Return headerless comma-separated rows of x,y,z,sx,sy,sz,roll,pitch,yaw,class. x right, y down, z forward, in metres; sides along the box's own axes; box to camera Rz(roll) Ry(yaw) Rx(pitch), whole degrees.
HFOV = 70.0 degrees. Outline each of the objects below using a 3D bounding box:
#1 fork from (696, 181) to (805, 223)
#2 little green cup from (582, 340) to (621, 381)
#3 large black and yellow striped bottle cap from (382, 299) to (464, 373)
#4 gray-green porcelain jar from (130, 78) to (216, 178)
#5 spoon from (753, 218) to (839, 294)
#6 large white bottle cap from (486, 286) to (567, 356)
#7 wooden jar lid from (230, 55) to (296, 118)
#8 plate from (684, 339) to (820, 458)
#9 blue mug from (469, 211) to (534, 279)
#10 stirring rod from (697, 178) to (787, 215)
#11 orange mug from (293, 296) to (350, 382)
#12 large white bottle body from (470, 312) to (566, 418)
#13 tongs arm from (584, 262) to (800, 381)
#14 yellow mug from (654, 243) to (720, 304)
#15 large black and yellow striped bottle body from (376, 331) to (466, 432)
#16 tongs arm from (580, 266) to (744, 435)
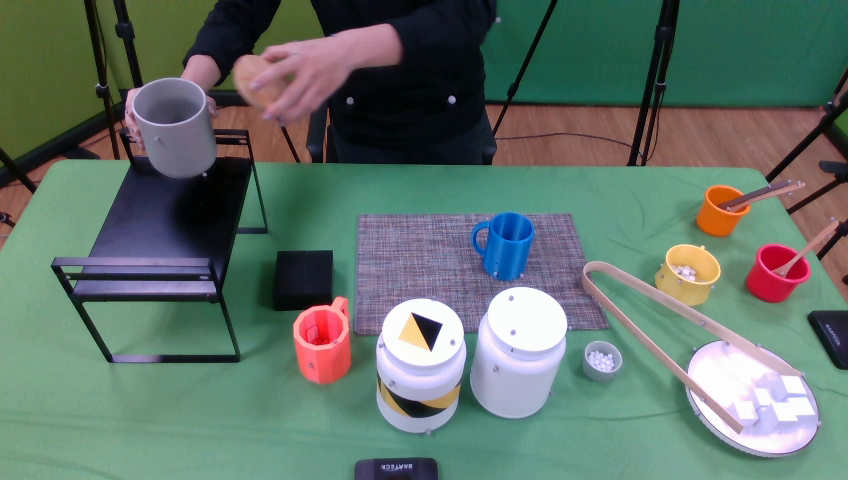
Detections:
0.659,-0.077,1.232,0.207,0.019,0.028,-26,35,34,fork
0.295,0.204,1.015,0.061,0.039,0.061,2,45,-2,little green cup
-0.002,0.132,0.843,0.115,0.019,0.114,2,46,-1,large black and yellow striped bottle cap
-0.382,-0.166,0.937,0.106,0.127,0.105,5,54,-6,gray-green porcelain jar
0.700,0.031,1.138,0.194,0.022,0.041,-47,55,14,spoon
0.147,0.114,0.869,0.115,0.018,0.114,3,46,-3,large white bottle cap
-0.238,-0.223,0.891,0.109,0.021,0.107,35,36,-30,wooden jar lid
0.523,0.256,0.983,0.208,0.039,0.206,2,46,-2,plate
0.141,0.005,1.140,0.116,0.106,0.082,18,48,13,blue mug
0.650,-0.088,1.246,0.006,0.176,0.014,29,50,-39,stirring rod
-0.157,0.154,0.985,0.083,0.101,0.125,17,52,11,orange mug
0.143,0.173,0.930,0.131,0.185,0.130,2,46,-2,large white bottle body
0.452,0.137,1.064,0.051,0.027,0.382,-34,50,-27,tongs arm
0.504,0.054,1.154,0.099,0.064,0.130,28,50,22,yellow mug
-0.007,0.189,0.905,0.131,0.185,0.130,2,46,-2,large black and yellow striped bottle body
0.384,0.174,1.029,0.028,0.028,0.385,-25,46,-14,tongs arm
